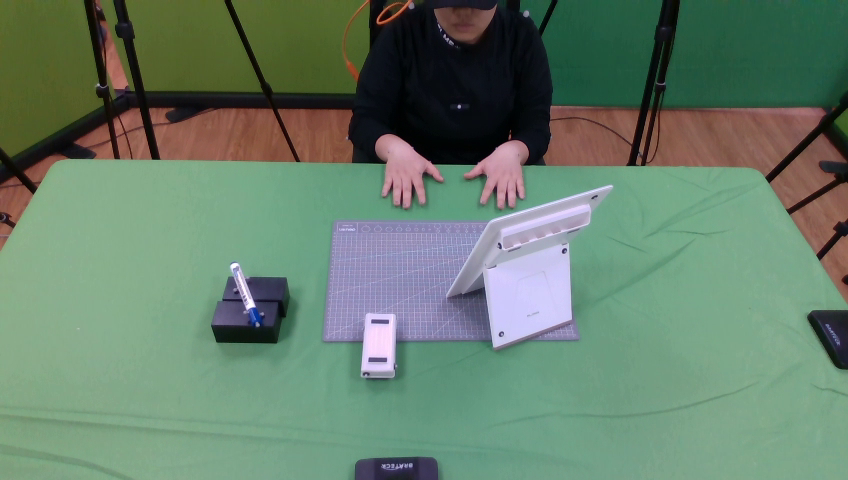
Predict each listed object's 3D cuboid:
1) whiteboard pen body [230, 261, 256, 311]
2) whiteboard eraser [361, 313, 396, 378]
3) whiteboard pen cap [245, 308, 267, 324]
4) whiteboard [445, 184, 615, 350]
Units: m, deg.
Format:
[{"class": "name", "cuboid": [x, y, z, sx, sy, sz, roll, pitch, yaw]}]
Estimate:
[{"class": "whiteboard pen body", "cuboid": [-0.303, 0.086, 1.025, 0.017, 0.017, 0.140, -18, 50, -20]}, {"class": "whiteboard eraser", "cuboid": [-0.075, 0.176, 1.006, 0.055, 0.042, 0.112, 2, 49, -4]}, {"class": "whiteboard pen cap", "cuboid": [-0.273, 0.126, 0.987, 0.033, 0.018, 0.018, 30, 49, 0]}, {"class": "whiteboard", "cuboid": [0.186, 0.065, 0.989, 0.217, 0.306, 0.143, -15, 68, -18]}]
